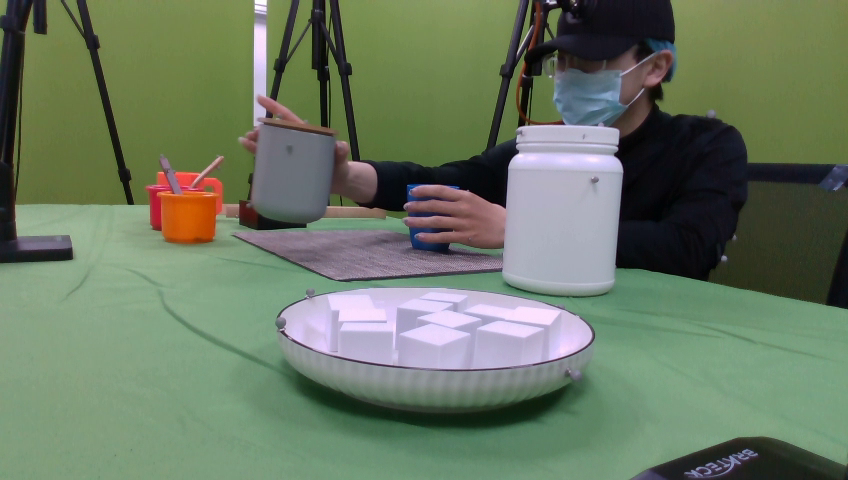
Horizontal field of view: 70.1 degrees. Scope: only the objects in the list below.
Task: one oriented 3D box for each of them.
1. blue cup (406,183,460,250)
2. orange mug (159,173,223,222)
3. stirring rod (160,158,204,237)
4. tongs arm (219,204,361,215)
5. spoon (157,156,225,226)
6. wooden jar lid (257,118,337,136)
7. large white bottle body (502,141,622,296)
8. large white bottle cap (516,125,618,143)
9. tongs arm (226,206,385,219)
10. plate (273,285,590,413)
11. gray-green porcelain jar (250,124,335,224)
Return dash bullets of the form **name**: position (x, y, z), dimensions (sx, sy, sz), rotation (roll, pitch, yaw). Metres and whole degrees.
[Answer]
- **blue cup**: position (0.012, -0.038, 0.959), dimensions (0.093, 0.100, 0.092), rotation (3, 9, 0)
- **orange mug**: position (-0.477, -0.089, 1.241), dimensions (0.127, 0.101, 0.083), rotation (-8, 12, -33)
- **stirring rod**: position (-0.390, -0.071, 0.972), dimensions (0.014, 0.006, 0.175), rotation (-3, 50, -48)
- **tongs arm**: position (-0.289, -0.069, 1.435), dimensions (0.389, 0.027, 0.028), rotation (0, -1, -18)
- **spoon**: position (-0.425, -0.094, 1.118), dimensions (0.041, 0.022, 0.194), rotation (4, 51, 30)
- **wooden jar lid**: position (-0.175, -0.151, 0.838), dimensions (0.108, 0.020, 0.108), rotation (8, 8, -1)
- **large white bottle body**: position (0.160, -0.037, 0.706), dimensions (0.131, 0.184, 0.130), rotation (2, 7, 0)
- **large white bottle cap**: position (0.163, -0.120, 0.695), dimensions (0.115, 0.018, 0.115), rotation (2, 8, 0)
- **tongs arm**: position (-0.252, -0.062, 1.361), dimensions (0.387, 0.026, 0.050), rotation (-1, 3, -31)
- **plate**: position (0.004, 0.069, 0.408), dimensions (0.208, 0.039, 0.207), rotation (2, 7, 0)
- **gray-green porcelain jar**: position (-0.186, -0.091, 0.848), dimensions (0.106, 0.126, 0.106), rotation (9, 9, -1)
